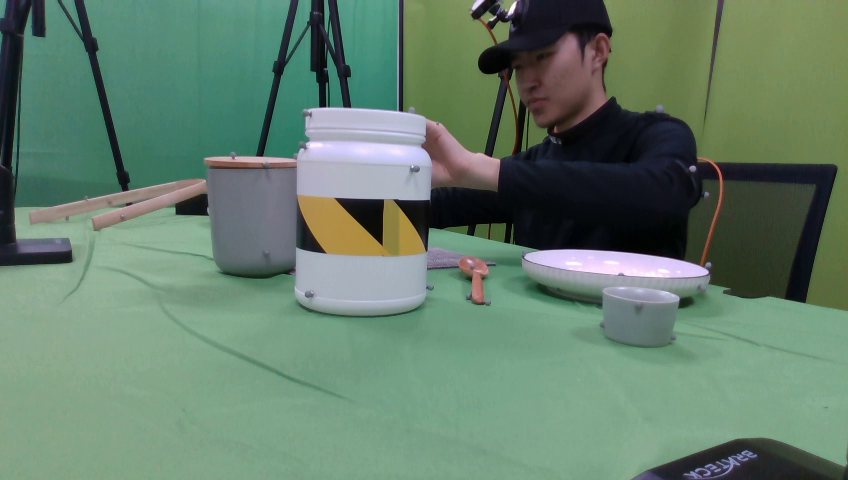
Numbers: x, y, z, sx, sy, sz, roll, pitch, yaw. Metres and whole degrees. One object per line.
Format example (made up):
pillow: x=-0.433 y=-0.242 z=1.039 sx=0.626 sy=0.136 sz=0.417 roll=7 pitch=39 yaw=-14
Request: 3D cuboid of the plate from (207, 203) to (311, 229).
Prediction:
plate: x=-0.342 y=-0.050 z=1.259 sx=0.208 sy=0.039 sz=0.207 roll=3 pitch=7 yaw=0

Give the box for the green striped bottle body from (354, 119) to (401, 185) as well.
green striped bottle body: x=-0.072 y=-0.123 z=0.898 sx=0.063 sy=0.063 sz=0.119 roll=1 pitch=-19 yaw=-9

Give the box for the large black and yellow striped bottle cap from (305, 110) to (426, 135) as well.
large black and yellow striped bottle cap: x=-0.055 y=-0.110 z=0.574 sx=0.115 sy=0.019 sz=0.115 roll=1 pitch=7 yaw=0

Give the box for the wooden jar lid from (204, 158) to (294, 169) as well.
wooden jar lid: x=-0.202 y=-0.086 z=0.714 sx=0.108 sy=0.020 sz=0.108 roll=3 pitch=11 yaw=0

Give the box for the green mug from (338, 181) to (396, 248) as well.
green mug: x=-0.098 y=-0.045 z=0.995 sx=0.093 sy=0.105 sz=0.125 roll=-1 pitch=8 yaw=-22

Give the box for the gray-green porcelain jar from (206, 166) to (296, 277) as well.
gray-green porcelain jar: x=-0.201 y=-0.024 z=0.724 sx=0.106 sy=0.126 sz=0.106 roll=-1 pitch=9 yaw=1

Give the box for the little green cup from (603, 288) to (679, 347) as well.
little green cup: x=0.180 y=0.064 z=0.505 sx=0.061 sy=0.038 sz=0.061 roll=2 pitch=6 yaw=0

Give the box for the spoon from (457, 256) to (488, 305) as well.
spoon: x=0.059 y=0.044 z=0.696 sx=0.041 sy=0.021 sz=0.193 roll=22 pitch=7 yaw=0

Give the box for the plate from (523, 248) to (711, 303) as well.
plate: x=0.219 y=0.041 z=0.706 sx=0.209 sy=0.038 sz=0.209 roll=2 pitch=7 yaw=0

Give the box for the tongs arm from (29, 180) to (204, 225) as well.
tongs arm: x=-0.609 y=-0.083 z=1.245 sx=0.050 sy=0.026 sz=0.386 roll=5 pitch=16 yaw=23

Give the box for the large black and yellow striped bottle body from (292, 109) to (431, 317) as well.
large black and yellow striped bottle body: x=-0.060 y=-0.028 z=0.585 sx=0.131 sy=0.184 sz=0.130 roll=3 pitch=7 yaw=0

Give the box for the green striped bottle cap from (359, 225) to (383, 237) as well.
green striped bottle cap: x=-0.101 y=-0.016 z=1.138 sx=0.044 sy=0.020 sz=0.044 roll=-3 pitch=8 yaw=1

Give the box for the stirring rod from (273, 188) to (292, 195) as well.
stirring rod: x=-0.354 y=-0.122 z=1.519 sx=0.006 sy=0.014 sz=0.176 roll=2 pitch=6 yaw=1

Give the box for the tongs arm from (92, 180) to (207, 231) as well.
tongs arm: x=-0.534 y=-0.076 z=1.221 sx=0.028 sy=0.028 sz=0.388 roll=-2 pitch=15 yaw=12
